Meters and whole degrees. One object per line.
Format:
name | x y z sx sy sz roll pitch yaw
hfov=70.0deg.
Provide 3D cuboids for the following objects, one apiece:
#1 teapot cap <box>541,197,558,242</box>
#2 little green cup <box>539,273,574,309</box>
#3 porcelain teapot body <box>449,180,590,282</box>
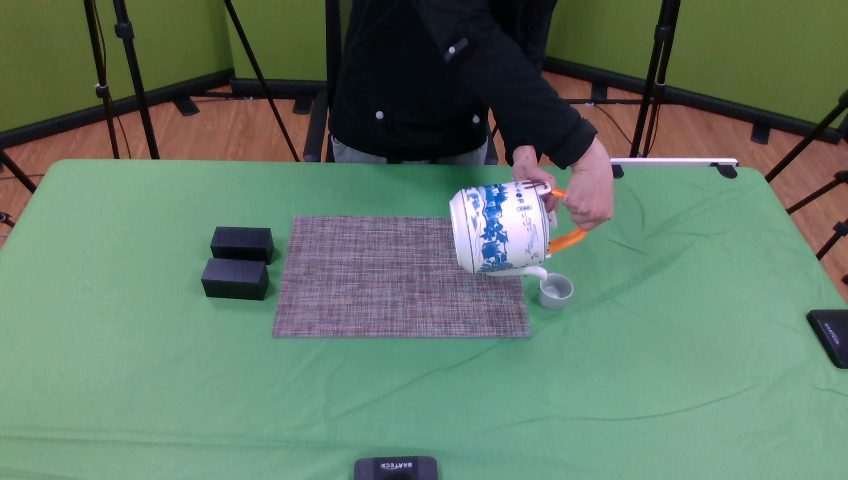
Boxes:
teapot cap | 0.199 -0.032 1.006 0.044 0.085 0.084 -5 46 -2
little green cup | 0.241 0.096 1.113 0.061 0.039 0.061 3 47 -2
porcelain teapot body | 0.163 -0.004 1.027 0.225 0.206 0.144 -8 39 1
